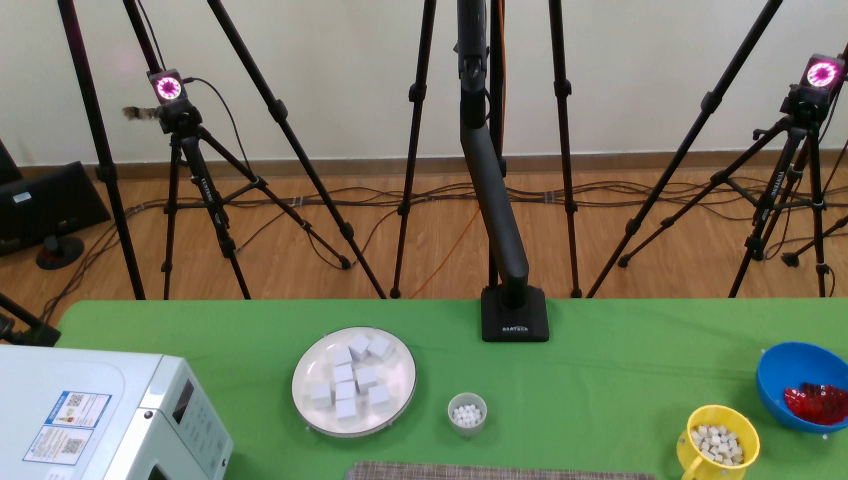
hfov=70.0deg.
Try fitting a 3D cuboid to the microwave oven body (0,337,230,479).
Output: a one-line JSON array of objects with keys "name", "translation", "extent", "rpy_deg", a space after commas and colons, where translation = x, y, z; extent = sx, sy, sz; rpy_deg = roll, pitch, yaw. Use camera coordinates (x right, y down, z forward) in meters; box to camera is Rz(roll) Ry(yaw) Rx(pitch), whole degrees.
[{"name": "microwave oven body", "translation": [-0.484, 0.373, 0.741], "extent": [0.326, 0.262, 0.437], "rpy_deg": [2, 47, 6]}]

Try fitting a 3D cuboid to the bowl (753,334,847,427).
[{"name": "bowl", "translation": [0.580, 0.229, 0.936], "extent": [0.151, 0.077, 0.150], "rpy_deg": [-2, 46, 3]}]

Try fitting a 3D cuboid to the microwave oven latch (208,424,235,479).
[{"name": "microwave oven latch", "translation": [-0.312, 0.319, 0.917], "extent": [0.030, 0.030, 0.078], "rpy_deg": [4, 47, 7]}]

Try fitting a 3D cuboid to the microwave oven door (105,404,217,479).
[{"name": "microwave oven door", "translation": [-0.344, 0.404, 0.693], "extent": [0.039, 0.246, 0.352], "rpy_deg": [2, 46, 6]}]

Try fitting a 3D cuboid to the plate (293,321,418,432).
[{"name": "plate", "translation": [-0.113, 0.229, 1.017], "extent": [0.207, 0.039, 0.205], "rpy_deg": [-2, 45, 3]}]

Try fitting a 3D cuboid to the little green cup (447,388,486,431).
[{"name": "little green cup", "translation": [0.068, 0.271, 0.962], "extent": [0.061, 0.039, 0.061], "rpy_deg": [-2, 45, 3]}]

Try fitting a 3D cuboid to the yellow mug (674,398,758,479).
[{"name": "yellow mug", "translation": [0.416, 0.300, 0.887], "extent": [0.131, 0.064, 0.099], "rpy_deg": [-32, 52, -23]}]
